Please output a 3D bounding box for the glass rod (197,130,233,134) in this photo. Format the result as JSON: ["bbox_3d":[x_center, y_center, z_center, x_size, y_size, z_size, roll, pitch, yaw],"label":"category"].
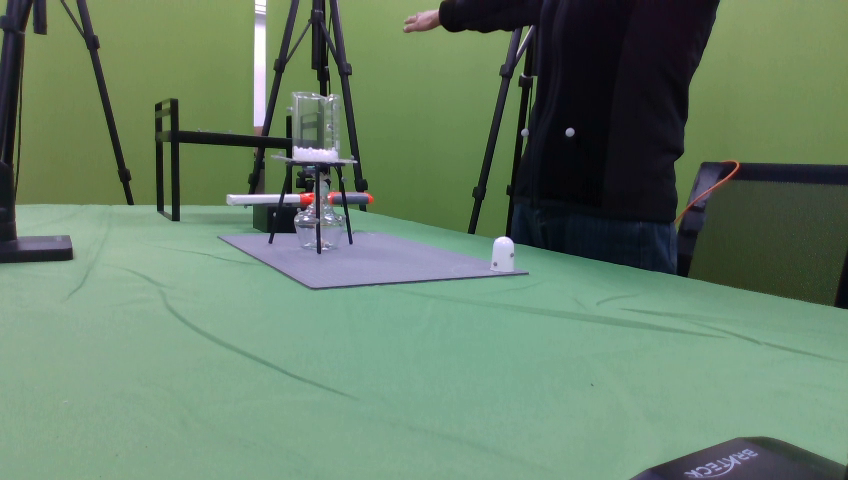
[{"bbox_3d":[-0.450,-0.232,1.294,0.008,0.008,0.198,-4,10,-40],"label":"glass rod"}]

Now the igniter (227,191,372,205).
[{"bbox_3d":[-0.232,-0.080,1.161,0.278,0.025,0.057,-3,12,-29],"label":"igniter"}]

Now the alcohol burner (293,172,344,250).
[{"bbox_3d":[-0.159,-0.045,0.921,0.078,0.119,0.078,5,7,0],"label":"alcohol burner"}]

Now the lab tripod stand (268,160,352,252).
[{"bbox_3d":[-0.171,-0.055,0.921,0.148,0.131,0.148,1,9,0],"label":"lab tripod stand"}]

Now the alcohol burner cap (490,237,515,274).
[{"bbox_3d":[0.104,0.020,0.793,0.034,0.048,0.034,2,7,0],"label":"alcohol burner cap"}]

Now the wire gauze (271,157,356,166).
[{"bbox_3d":[-0.167,-0.120,0.917,0.125,0.011,0.121,-2,6,-8],"label":"wire gauze"}]

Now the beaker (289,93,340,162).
[{"bbox_3d":[-0.162,-0.167,0.908,0.074,0.100,0.083,-4,10,-31],"label":"beaker"}]
